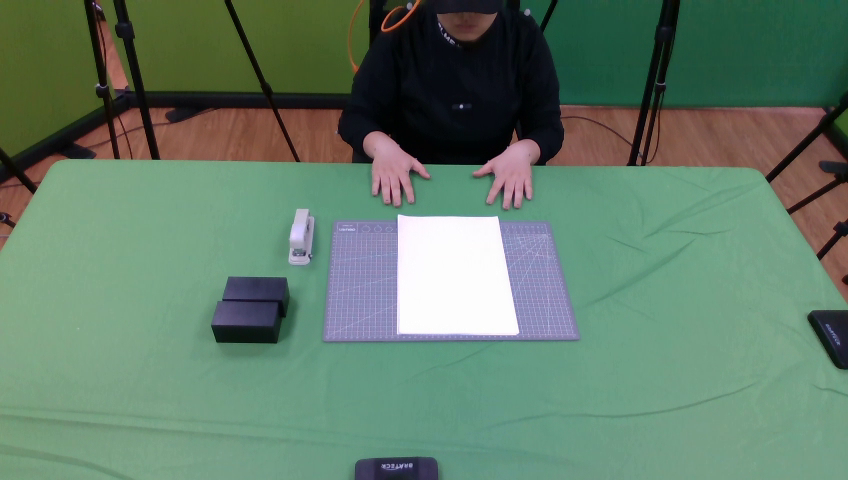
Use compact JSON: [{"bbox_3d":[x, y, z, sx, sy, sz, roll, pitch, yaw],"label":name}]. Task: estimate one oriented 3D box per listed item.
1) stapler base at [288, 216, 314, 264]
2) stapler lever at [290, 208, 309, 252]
[{"bbox_3d":[-0.241,-0.007,1.185,0.041,0.024,0.129,1,44,-6],"label":"stapler base"},{"bbox_3d":[-0.240,-0.026,1.168,0.027,0.040,0.117,1,44,-6],"label":"stapler lever"}]
